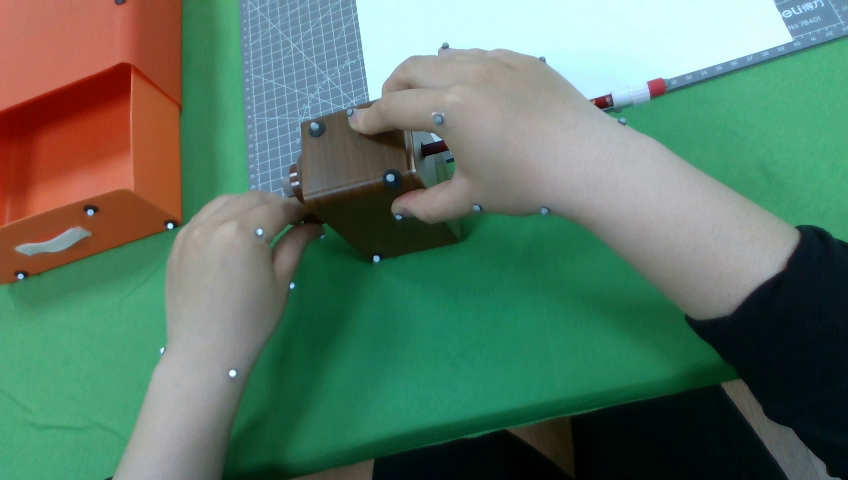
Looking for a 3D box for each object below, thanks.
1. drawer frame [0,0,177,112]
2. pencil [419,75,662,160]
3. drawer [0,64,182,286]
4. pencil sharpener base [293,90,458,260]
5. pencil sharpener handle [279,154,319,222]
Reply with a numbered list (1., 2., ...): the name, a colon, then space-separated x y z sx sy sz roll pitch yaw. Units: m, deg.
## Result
1. drawer frame: -0.338 -0.191 0.573 0.201 0.083 0.211 -17 65 12
2. pencil: 0.039 -0.062 0.353 0.194 0.012 0.012 -15 65 11
3. drawer: -0.315 -0.085 0.527 0.194 0.074 0.210 -18 64 12
4. pencil sharpener base: -0.029 -0.036 0.397 0.076 0.108 0.061 -14 65 13
5. pencil sharpener handle: -0.081 -0.029 0.397 0.030 0.068 0.035 -14 68 13
